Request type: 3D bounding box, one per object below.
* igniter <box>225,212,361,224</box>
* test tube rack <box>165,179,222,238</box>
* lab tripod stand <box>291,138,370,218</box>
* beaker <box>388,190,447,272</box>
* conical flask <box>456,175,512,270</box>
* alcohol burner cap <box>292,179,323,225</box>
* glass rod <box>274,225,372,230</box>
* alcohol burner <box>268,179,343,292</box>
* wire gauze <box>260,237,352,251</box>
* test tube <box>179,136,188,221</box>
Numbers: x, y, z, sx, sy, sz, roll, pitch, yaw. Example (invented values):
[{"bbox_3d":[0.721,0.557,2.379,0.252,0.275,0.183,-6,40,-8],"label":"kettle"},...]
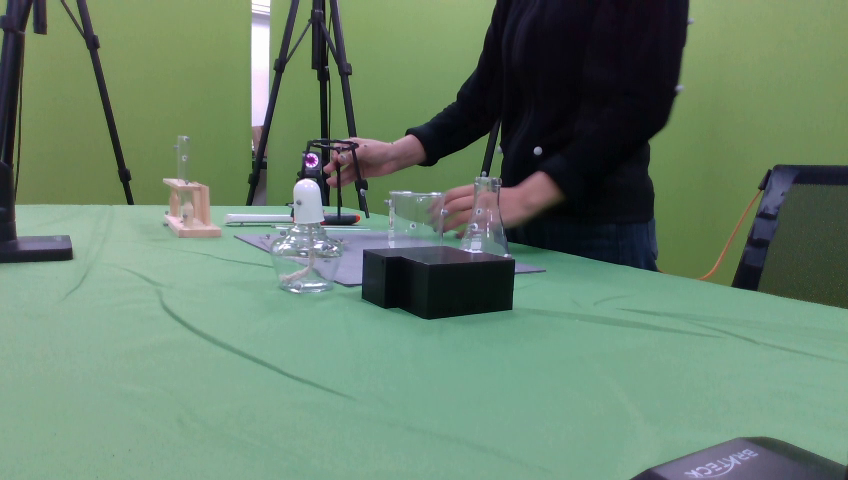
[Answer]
[{"bbox_3d":[-0.262,-0.044,1.240,0.278,0.025,0.057,-2,-1,-31],"label":"igniter"},{"bbox_3d":[-0.423,-0.062,1.098,0.067,0.085,0.241,-2,9,-28],"label":"test tube rack"},{"bbox_3d":[-0.152,-0.104,1.039,0.148,0.131,0.148,2,0,0],"label":"lab tripod stand"},{"bbox_3d":[-0.010,-0.013,0.771,0.074,0.100,0.084,3,7,4],"label":"beaker"},{"bbox_3d":[0.082,-0.025,0.801,0.075,0.122,0.075,2,7,0],"label":"conical flask"},{"bbox_3d":[-0.124,-0.040,0.632,0.034,0.048,0.034,-3,10,1],"label":"alcohol burner cap"},{"bbox_3d":[-0.193,-0.024,1.177,0.201,0.008,0.008,1,6,-31],"label":"glass rod"},{"bbox_3d":[-0.124,-0.005,0.637,0.078,0.119,0.078,4,8,0],"label":"alcohol burner"},{"bbox_3d":[-0.185,0.004,0.938,0.122,0.011,0.124,-1,5,-24],"label":"wire gauze"},{"bbox_3d":[-0.425,-0.108,1.070,0.017,0.150,0.017,4,9,0],"label":"test tube"}]
